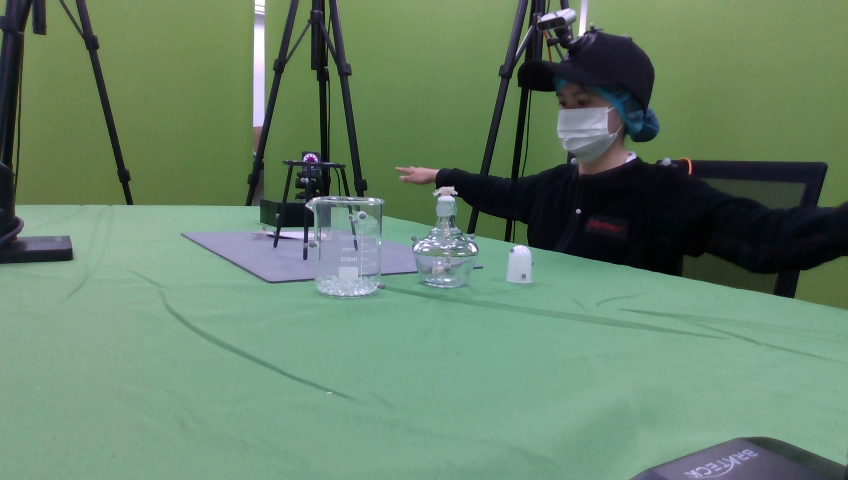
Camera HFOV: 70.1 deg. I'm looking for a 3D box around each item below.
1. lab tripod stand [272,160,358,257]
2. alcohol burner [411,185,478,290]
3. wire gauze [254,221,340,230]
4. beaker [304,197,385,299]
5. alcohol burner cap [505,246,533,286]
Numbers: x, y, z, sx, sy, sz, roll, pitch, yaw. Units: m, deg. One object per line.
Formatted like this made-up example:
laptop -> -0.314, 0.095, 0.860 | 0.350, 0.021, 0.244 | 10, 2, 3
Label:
lab tripod stand -> -0.159, -0.048, 0.876 | 0.148, 0.131, 0.148 | 3, 5, 0
alcohol burner -> 0.023, -0.004, 0.697 | 0.078, 0.119, 0.078 | 0, 7, 0
wire gauze -> -0.224, -0.026, 1.057 | 0.122, 0.011, 0.124 | -3, 3, -26
beaker -> -0.083, 0.007, 0.628 | 0.084, 0.100, 0.073 | -1, 7, -21
alcohol burner cap -> 0.118, 0.032, 0.739 | 0.034, 0.048, 0.034 | 2, 7, 0
